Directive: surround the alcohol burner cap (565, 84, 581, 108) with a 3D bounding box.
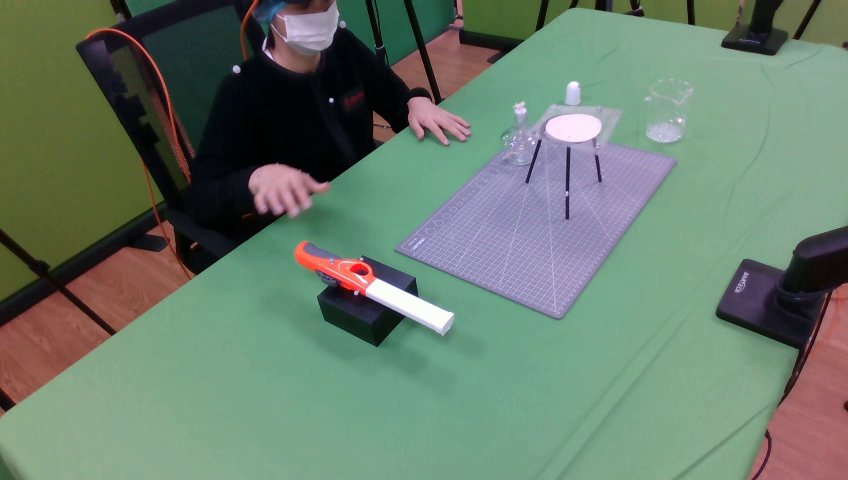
[{"bbox_3d":[0.315,-0.307,1.278,0.034,0.048,0.033,-5,42,5],"label":"alcohol burner cap"}]

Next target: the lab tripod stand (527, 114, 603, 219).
[{"bbox_3d":[0.234,-0.129,1.002,0.148,0.132,0.147,-6,40,6],"label":"lab tripod stand"}]

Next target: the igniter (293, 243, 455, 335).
[{"bbox_3d":[-0.079,0.062,0.837,0.274,0.025,0.057,23,49,27],"label":"igniter"}]

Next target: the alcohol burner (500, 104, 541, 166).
[{"bbox_3d":[0.178,-0.196,1.106,0.078,0.119,0.077,-5,42,5],"label":"alcohol burner"}]

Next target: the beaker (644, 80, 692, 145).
[{"bbox_3d":[0.451,-0.233,1.122,0.074,0.101,0.083,-8,40,1],"label":"beaker"}]

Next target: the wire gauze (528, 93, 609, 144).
[{"bbox_3d":[0.225,-0.188,0.943,0.121,0.011,0.124,6,48,9],"label":"wire gauze"}]
